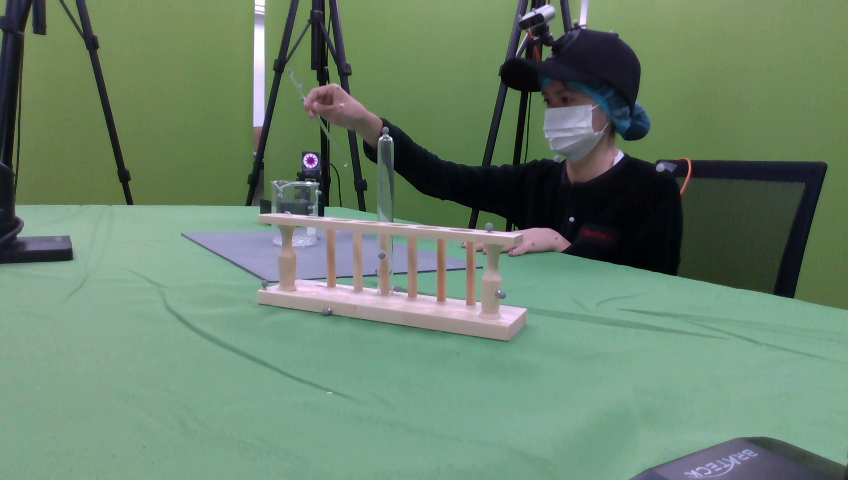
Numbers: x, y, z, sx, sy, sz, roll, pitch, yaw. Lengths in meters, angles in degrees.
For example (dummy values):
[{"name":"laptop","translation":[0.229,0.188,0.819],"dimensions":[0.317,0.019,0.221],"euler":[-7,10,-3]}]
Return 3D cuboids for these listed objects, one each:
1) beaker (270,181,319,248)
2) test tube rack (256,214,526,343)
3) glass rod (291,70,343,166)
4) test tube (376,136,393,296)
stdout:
[{"name":"beaker","translation":[-0.203,-0.040,0.935],"dimensions":[0.074,0.100,0.084],"euler":[5,8,18]},{"name":"test tube rack","translation":[-0.032,0.027,0.547],"dimensions":[0.241,0.085,0.067],"euler":[6,7,22]},{"name":"glass rod","translation":[-0.189,-0.214,1.087],"dimensions":[0.008,0.200,0.008],"euler":[-16,36,13]},{"name":"test tube","translation":[-0.037,-0.022,0.565],"dimensions":[0.017,0.150,0.017],"euler":[1,6,0]}]
